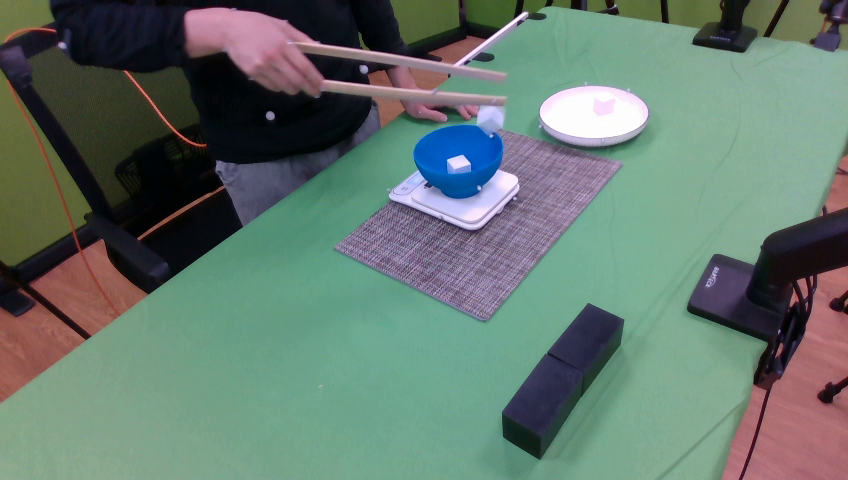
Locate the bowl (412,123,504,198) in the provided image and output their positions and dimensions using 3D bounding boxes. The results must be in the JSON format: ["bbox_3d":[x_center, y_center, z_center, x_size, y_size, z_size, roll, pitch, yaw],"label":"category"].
[{"bbox_3d":[0.059,-0.123,1.007,0.151,0.077,0.150,-5,41,5],"label":"bowl"}]

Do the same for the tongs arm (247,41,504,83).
[{"bbox_3d":[-0.066,-0.265,0.916,0.389,0.027,0.028,4,77,-12],"label":"tongs arm"}]

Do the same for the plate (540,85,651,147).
[{"bbox_3d":[0.333,-0.238,1.185,0.207,0.039,0.206,-4,41,4],"label":"plate"}]

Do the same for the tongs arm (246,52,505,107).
[{"bbox_3d":[-0.066,-0.238,0.908,0.386,0.026,0.050,1,74,-13],"label":"tongs arm"}]

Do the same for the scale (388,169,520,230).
[{"bbox_3d":[0.050,-0.090,1.052,0.199,0.032,0.149,24,49,31],"label":"scale"}]
